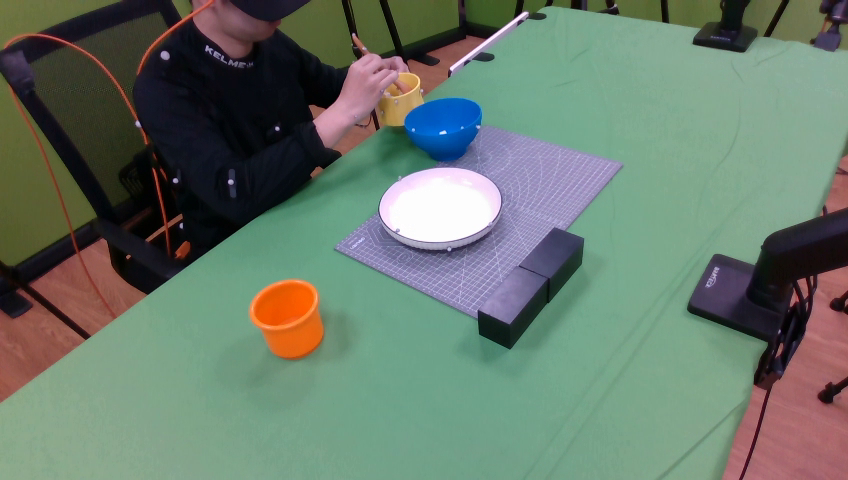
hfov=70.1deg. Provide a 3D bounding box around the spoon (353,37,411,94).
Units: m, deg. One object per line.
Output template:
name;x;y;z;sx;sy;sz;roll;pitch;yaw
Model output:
spoon;-0.075;-0.323;1.174;0.021;0.195;0.041;-23;48;32

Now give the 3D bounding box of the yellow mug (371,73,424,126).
yellow mug;-0.053;-0.295;1.232;0.100;0.064;0.130;-13;41;1

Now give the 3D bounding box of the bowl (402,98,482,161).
bowl;0.040;-0.203;1.154;0.151;0.077;0.150;-7;38;6

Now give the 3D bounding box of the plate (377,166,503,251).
plate;0.027;-0.050;1.007;0.209;0.038;0.208;-4;41;4
